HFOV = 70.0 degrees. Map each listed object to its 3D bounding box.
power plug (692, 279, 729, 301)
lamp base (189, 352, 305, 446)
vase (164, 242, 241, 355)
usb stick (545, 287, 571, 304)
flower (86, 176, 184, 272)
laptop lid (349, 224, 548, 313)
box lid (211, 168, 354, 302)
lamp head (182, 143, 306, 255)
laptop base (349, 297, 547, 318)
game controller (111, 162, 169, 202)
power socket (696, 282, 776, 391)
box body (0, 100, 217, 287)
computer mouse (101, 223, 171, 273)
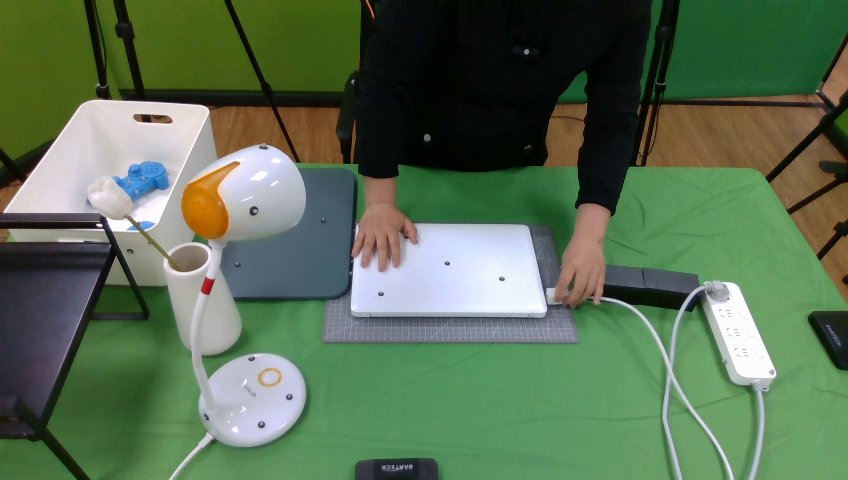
[{"bbox_3d":[0.522,0.091,1.115,0.072,0.053,0.035,11,48,9],"label":"power plug"},{"bbox_3d":[-0.268,0.197,0.876,0.160,0.181,0.179,26,52,20],"label":"lamp base"},{"bbox_3d":[-0.349,0.096,0.953,0.098,0.201,0.097,3,47,-3],"label":"vase"},{"bbox_3d":[0.235,0.101,1.101,0.059,0.027,0.021,-3,48,0],"label":"usb stick"},{"bbox_3d":[-0.365,0.039,0.894,0.038,0.364,0.044,-4,53,15],"label":"flower"},{"bbox_3d":[0.041,0.047,1.143,0.357,0.013,0.240,2,43,-3],"label":"laptop lid"},{"bbox_3d":[-0.276,-0.023,1.205,0.263,0.015,0.369,0,46,-3],"label":"box lid"},{"bbox_3d":[-0.215,-0.043,0.697,0.112,0.113,0.123,23,31,17],"label":"lamp head"},{"bbox_3d":[0.041,0.056,1.149,0.354,0.023,0.234,0,42,-3],"label":"laptop base"},{"bbox_3d":[-0.597,-0.113,1.234,0.097,0.052,0.155,29,52,19],"label":"game controller"},{"bbox_3d":[0.550,0.161,1.078,0.072,0.033,0.225,2,46,-1],"label":"power socket"},{"bbox_3d":[-0.559,-0.092,1.144,0.254,0.161,0.361,3,46,-2],"label":"box body"},{"bbox_3d":[-0.536,0.011,1.128,0.062,0.041,0.117,33,53,20],"label":"computer mouse"}]
